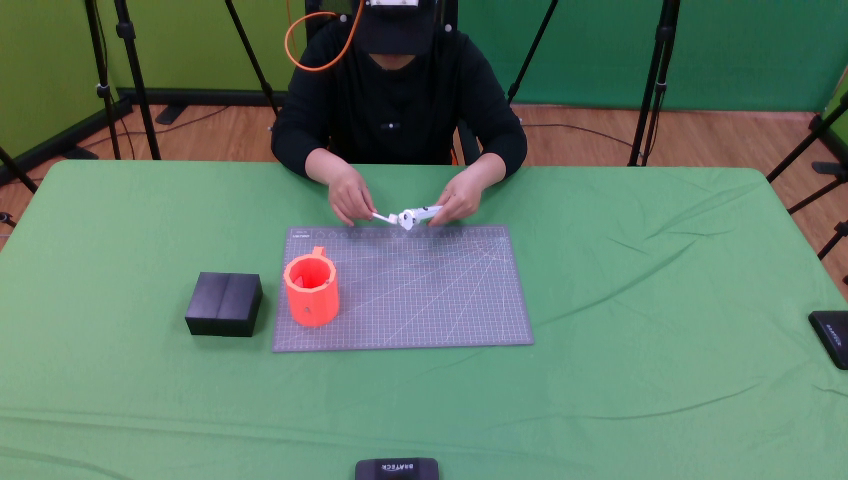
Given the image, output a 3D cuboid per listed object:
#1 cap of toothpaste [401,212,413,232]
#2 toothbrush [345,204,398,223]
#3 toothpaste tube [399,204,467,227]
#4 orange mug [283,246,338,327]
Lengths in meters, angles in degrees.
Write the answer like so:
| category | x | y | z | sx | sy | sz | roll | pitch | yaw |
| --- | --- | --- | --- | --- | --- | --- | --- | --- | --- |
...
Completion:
| category | x | y | z | sx | sy | sz | roll | pitch | yaw |
| --- | --- | --- | --- | --- | --- | --- | --- | --- | --- |
| cap of toothpaste | -0.032 | -0.033 | 1.104 | 0.011 | 0.037 | 0.037 | 10 | 44 | 28 |
| toothbrush | -0.106 | -0.055 | 1.187 | 0.014 | 0.016 | 0.181 | 7 | 7 | -39 |
| toothpaste tube | 0.014 | -0.052 | 1.180 | 0.165 | 0.055 | 0.034 | -14 | 89 | -46 |
| orange mug | -0.192 | 0.074 | 1.056 | 0.083 | 0.101 | 0.125 | 5 | 50 | 1 |
